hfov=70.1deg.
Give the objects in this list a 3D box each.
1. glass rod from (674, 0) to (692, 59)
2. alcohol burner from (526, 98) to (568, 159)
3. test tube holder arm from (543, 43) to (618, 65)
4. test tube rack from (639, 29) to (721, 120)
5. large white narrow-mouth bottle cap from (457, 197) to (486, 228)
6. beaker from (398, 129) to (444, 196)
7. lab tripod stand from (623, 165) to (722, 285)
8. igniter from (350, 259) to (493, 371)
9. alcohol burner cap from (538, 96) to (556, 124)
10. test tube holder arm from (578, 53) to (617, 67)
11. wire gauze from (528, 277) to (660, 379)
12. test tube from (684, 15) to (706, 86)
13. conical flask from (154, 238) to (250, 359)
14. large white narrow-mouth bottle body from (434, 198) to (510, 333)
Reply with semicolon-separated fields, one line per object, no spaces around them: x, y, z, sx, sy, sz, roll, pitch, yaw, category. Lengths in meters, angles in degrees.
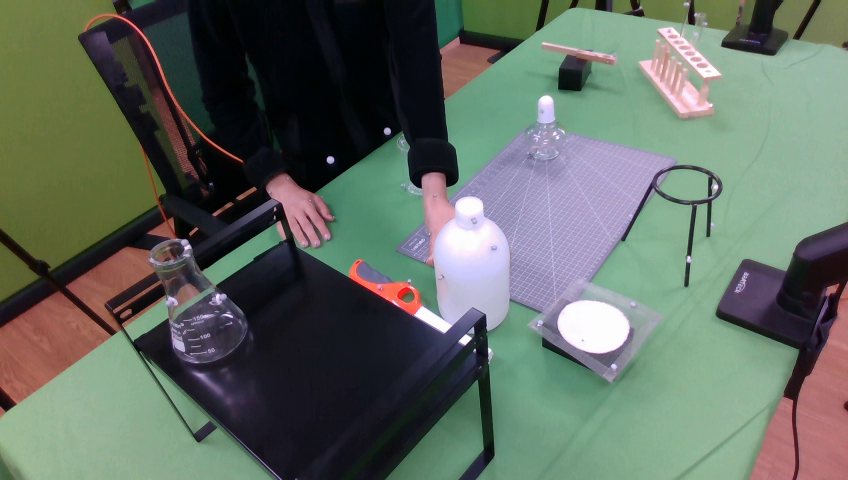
0.537;-0.436;1.257;0.008;0.200;0.008;0;39;1;glass rod
0.228;-0.210;1.118;0.078;0.119;0.077;-5;43;5;alcohol burner
0.344;-0.413;1.340;0.177;0.015;0.013;25;51;31;test tube holder arm
0.527;-0.351;1.262;0.067;0.085;0.241;-8;40;1;test tube rack
0.058;-0.034;0.747;0.038;0.024;0.037;-2;41;3;large white narrow-mouth bottle cap
-0.001;-0.139;1.087;0.073;0.101;0.084;29;52;35;beaker
0.365;-0.030;0.874;0.148;0.132;0.147;-6;41;6;lab tripod stand
-0.014;0.099;0.864;0.274;0.025;0.057;31;74;35;igniter
0.222;-0.237;1.095;0.034;0.048;0.033;-7;35;5;alcohol burner cap
0.376;-0.393;1.314;0.087;0.015;0.010;26;51;32;test tube holder arm
0.213;0.103;0.763;0.124;0.011;0.122;30;52;35;wire gauze
0.541;-0.378;1.216;0.017;0.151;0.017;-2;44;3;test tube
-0.225;0.055;0.597;0.075;0.122;0.075;-5;41;4;conical flask
0.064;0.028;0.804;0.102;0.195;0.101;-3;41;3;large white narrow-mouth bottle body
